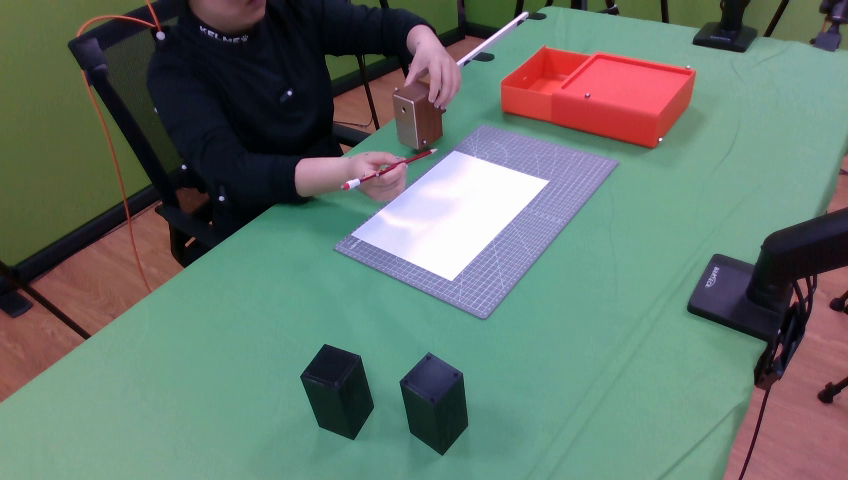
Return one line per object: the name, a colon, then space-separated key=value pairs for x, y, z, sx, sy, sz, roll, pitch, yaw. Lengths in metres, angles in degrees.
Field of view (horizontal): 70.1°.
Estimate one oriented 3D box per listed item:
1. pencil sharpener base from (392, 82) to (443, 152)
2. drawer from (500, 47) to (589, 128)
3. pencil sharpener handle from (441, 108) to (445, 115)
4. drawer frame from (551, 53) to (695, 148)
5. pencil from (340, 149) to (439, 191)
pencil sharpener base: x=-0.009 y=-0.235 z=1.148 sx=0.061 sy=0.107 sz=0.077 roll=27 pitch=50 yaw=34
drawer: x=0.295 y=-0.316 z=1.255 sx=0.210 sy=0.073 sz=0.195 roll=22 pitch=48 yaw=29
pencil sharpener handle: x=0.024 y=-0.270 z=1.167 sx=0.035 sy=0.068 sz=0.031 roll=26 pitch=49 yaw=36
drawer frame: x=0.391 y=-0.281 z=1.196 sx=0.212 sy=0.083 sz=0.202 roll=22 pitch=48 yaw=29
pencil: x=-0.050 y=-0.114 z=0.957 sx=0.195 sy=0.012 sz=0.012 roll=-27 pitch=43 yaw=-31
